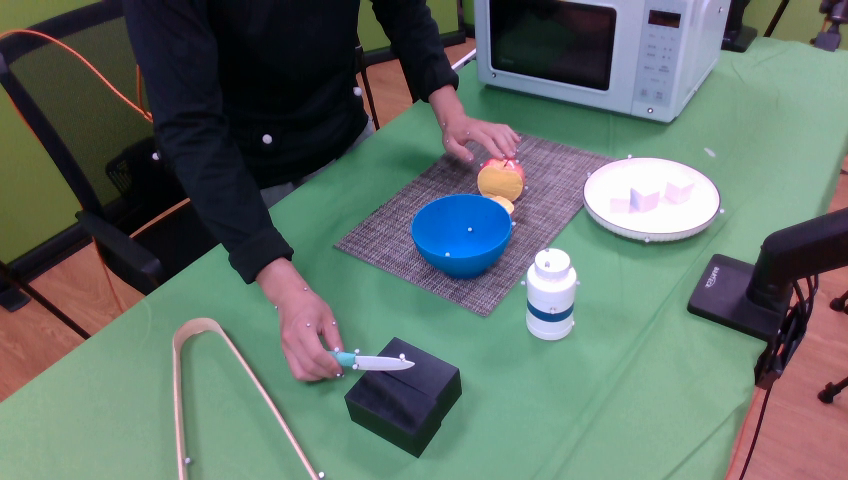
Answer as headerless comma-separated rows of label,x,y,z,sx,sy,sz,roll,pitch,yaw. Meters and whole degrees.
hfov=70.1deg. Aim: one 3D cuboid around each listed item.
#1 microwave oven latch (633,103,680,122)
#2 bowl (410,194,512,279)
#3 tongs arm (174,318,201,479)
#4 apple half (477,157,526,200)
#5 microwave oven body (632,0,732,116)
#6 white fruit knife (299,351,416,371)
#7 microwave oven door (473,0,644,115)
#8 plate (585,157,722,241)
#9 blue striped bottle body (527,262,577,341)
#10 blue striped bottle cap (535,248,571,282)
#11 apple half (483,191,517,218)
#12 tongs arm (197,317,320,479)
microwave oven latch,0.444,-0.249,1.157,0.078,0.029,0.030,21,49,30
bowl,0.058,0.005,0.905,0.151,0.077,0.150,-4,40,4
tongs arm,-0.272,0.234,0.723,0.051,0.026,0.381,-19,40,-14
apple half,0.134,-0.107,1.026,0.080,0.075,0.053,12,41,11
microwave oven body,0.377,-0.462,1.267,0.438,0.261,0.327,21,48,30
white fruit knife,-0.086,0.148,0.737,0.206,0.027,0.016,-8,29,39
microwave oven door,0.257,-0.396,1.199,0.353,0.245,0.039,21,48,29
plate,0.367,-0.063,0.979,0.207,0.039,0.206,-4,40,4
blue striped bottle body,0.165,0.070,0.786,0.063,0.121,0.063,-4,41,4
blue striped bottle cap,0.161,0.031,0.753,0.044,0.021,0.044,-4,42,4
apple half,0.116,-0.045,0.983,0.081,0.033,0.081,-13,35,10
tongs arm,-0.199,0.206,0.750,0.028,0.028,0.384,-31,45,-22
